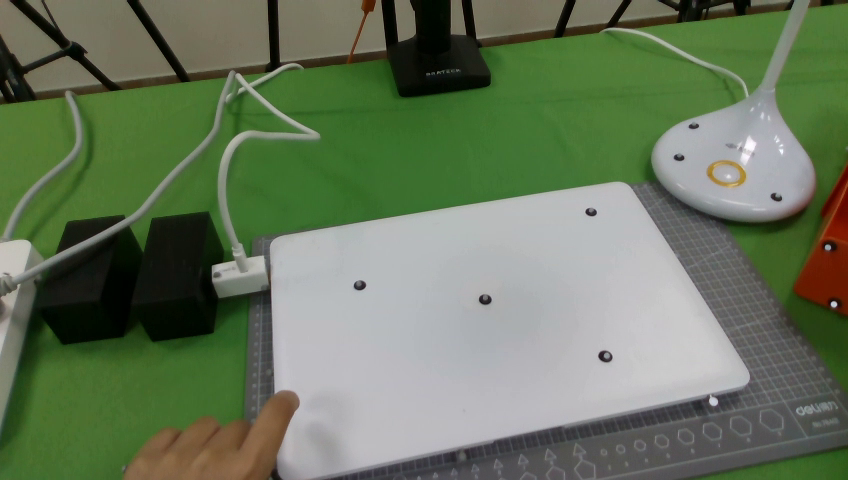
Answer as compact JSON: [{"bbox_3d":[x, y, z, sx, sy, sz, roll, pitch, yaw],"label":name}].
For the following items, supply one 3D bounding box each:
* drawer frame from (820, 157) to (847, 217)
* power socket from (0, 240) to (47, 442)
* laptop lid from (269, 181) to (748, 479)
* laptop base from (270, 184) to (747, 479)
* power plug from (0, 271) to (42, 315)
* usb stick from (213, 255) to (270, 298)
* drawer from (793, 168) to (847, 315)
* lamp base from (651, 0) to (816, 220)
[{"bbox_3d":[0.520,-0.065,0.573,0.200,0.083,0.213,27,52,26],"label":"drawer frame"},{"bbox_3d":[-0.368,0.083,0.495,0.072,0.033,0.224,-10,46,-9],"label":"power socket"},{"bbox_3d":[0.052,0.052,0.504,0.357,0.013,0.239,-8,48,-6],"label":"laptop lid"},{"bbox_3d":[0.052,0.059,0.514,0.355,0.023,0.233,-10,50,-7],"label":"laptop base"},{"bbox_3d":[-0.342,0.055,0.489,0.072,0.053,0.035,-3,46,-1],"label":"power plug"},{"bbox_3d":[-0.152,0.031,0.531,0.059,0.027,0.021,-9,45,-13],"label":"usb stick"},{"bbox_3d":[0.453,0.001,0.514,0.193,0.074,0.211,27,52,27],"label":"drawer"},{"bbox_3d":[0.322,-0.139,0.583,0.159,0.182,0.178,20,46,21],"label":"lamp base"}]
